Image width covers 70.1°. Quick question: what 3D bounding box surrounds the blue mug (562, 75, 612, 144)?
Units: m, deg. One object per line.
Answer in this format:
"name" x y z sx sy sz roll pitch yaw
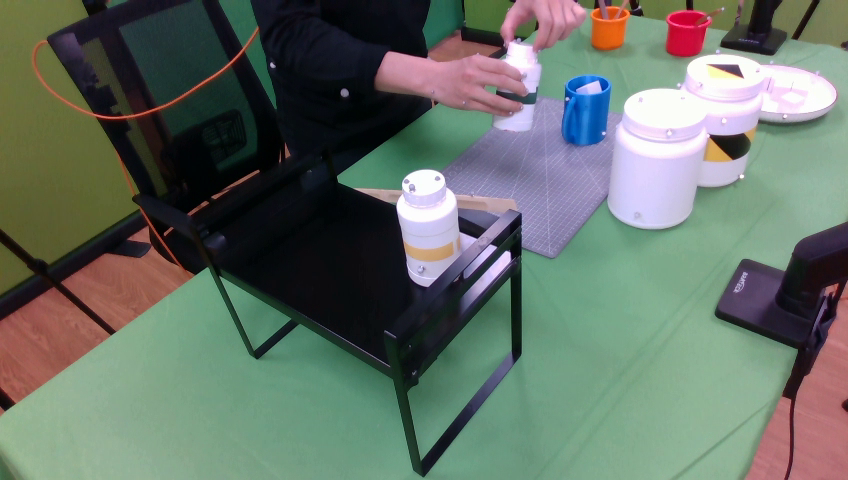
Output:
"blue mug" 0.298 -0.239 1.143 0.081 0.106 0.117 30 54 36

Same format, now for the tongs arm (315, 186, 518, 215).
"tongs arm" -0.028 -0.060 0.988 0.382 0.027 0.051 10 45 36

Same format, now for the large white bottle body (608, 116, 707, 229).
"large white bottle body" 0.361 -0.124 0.942 0.130 0.185 0.130 -4 41 4

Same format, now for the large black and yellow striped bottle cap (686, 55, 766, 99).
"large black and yellow striped bottle cap" 0.474 -0.258 0.952 0.115 0.019 0.114 -5 41 5

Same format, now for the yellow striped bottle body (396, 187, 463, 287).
"yellow striped bottle body" 0.006 -0.013 0.638 0.063 0.121 0.062 -5 41 5

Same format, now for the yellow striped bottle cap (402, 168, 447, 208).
"yellow striped bottle cap" 0.000 -0.052 0.605 0.044 0.019 0.044 -5 43 5

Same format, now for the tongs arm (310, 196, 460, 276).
"tongs arm" -0.078 -0.012 0.944 0.028 0.028 0.384 -43 39 -22

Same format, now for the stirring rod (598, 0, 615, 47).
"stirring rod" 0.437 -0.551 1.462 0.014 0.006 0.175 -11 83 1

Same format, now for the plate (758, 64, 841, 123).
"plate" 0.695 -0.283 1.189 0.207 0.039 0.206 -4 40 4

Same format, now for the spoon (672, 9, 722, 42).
"spoon" 0.606 -0.476 1.345 0.042 0.021 0.193 -6 -3 -2

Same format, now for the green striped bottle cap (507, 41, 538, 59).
"green striped bottle cap" 0.145 -0.277 0.887 0.044 0.020 0.044 8 27 -4

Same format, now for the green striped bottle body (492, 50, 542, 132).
"green striped bottle body" 0.140 -0.228 0.908 0.063 0.119 0.063 4 25 -2

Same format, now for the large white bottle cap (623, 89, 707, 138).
"large white bottle cap" 0.352 -0.187 0.886 0.115 0.018 0.114 -4 41 4

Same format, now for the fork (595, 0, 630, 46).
"fork" 0.479 -0.556 1.452 0.028 0.019 0.207 41 103 40

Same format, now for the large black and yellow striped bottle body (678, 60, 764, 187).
"large black and yellow striped bottle body" 0.482 -0.196 1.008 0.131 0.185 0.130 -4 41 4
